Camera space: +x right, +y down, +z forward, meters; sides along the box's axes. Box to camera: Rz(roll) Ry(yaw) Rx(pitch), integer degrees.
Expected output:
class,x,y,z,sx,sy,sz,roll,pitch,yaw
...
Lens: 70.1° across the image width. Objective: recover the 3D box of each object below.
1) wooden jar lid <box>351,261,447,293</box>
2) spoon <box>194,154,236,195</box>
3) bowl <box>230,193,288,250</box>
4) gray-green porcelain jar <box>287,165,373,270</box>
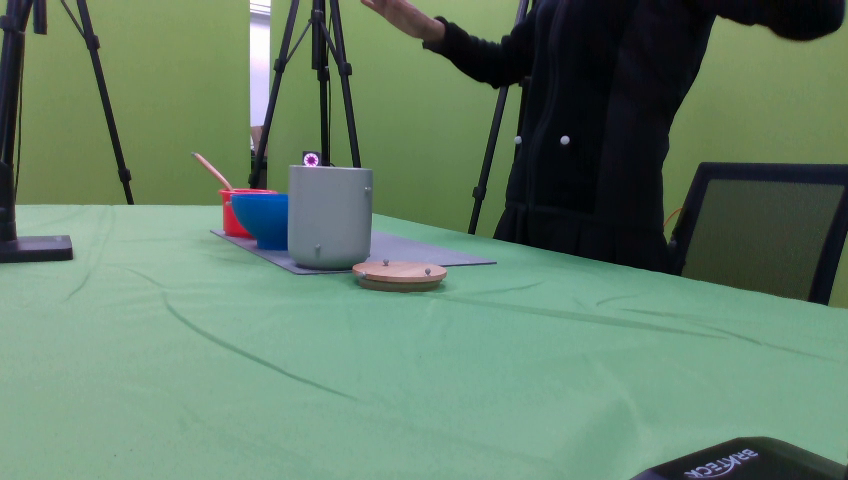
class,x,y,z,sx,sy,sz,roll,pitch,yaw
wooden jar lid,-0.028,0.042,0.686,0.108,0.020,0.108,3,8,0
spoon,-0.334,-0.083,1.042,0.193,0.021,0.042,50,23,11
bowl,-0.214,-0.028,0.912,0.151,0.077,0.151,2,8,0
gray-green porcelain jar,-0.119,-0.029,0.767,0.106,0.126,0.106,2,7,0
